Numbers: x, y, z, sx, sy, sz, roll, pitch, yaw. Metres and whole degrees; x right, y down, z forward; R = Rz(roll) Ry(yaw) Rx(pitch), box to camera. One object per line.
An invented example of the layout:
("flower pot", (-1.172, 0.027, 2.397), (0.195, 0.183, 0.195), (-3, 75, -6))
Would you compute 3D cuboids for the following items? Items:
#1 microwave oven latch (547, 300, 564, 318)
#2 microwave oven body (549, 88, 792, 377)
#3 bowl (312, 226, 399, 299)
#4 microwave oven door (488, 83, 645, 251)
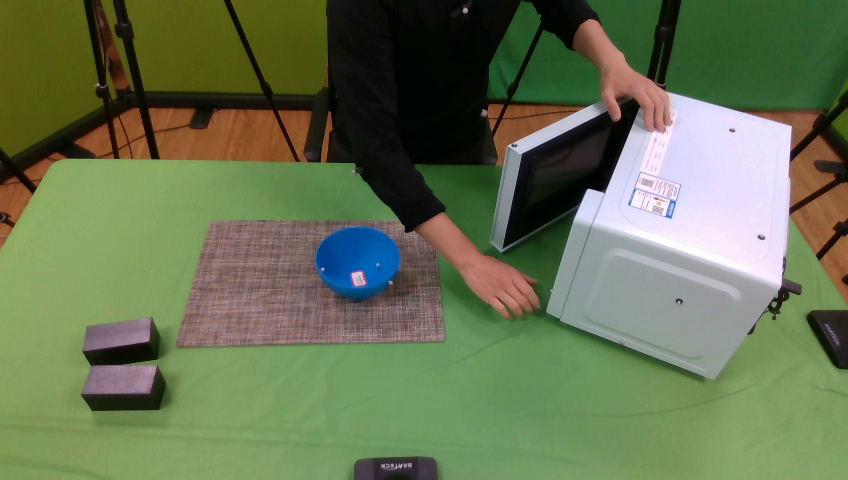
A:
("microwave oven latch", (0.242, 0.102, 1.081), (0.030, 0.029, 0.079), (21, 48, 17))
("microwave oven body", (0.456, -0.028, 1.088), (0.325, 0.261, 0.440), (20, 47, 16))
("bowl", (-0.120, 0.054, 1.091), (0.151, 0.077, 0.150), (2, 46, -2))
("microwave oven door", (0.281, -0.144, 1.180), (0.356, 0.245, 0.039), (-28, 54, -27))
